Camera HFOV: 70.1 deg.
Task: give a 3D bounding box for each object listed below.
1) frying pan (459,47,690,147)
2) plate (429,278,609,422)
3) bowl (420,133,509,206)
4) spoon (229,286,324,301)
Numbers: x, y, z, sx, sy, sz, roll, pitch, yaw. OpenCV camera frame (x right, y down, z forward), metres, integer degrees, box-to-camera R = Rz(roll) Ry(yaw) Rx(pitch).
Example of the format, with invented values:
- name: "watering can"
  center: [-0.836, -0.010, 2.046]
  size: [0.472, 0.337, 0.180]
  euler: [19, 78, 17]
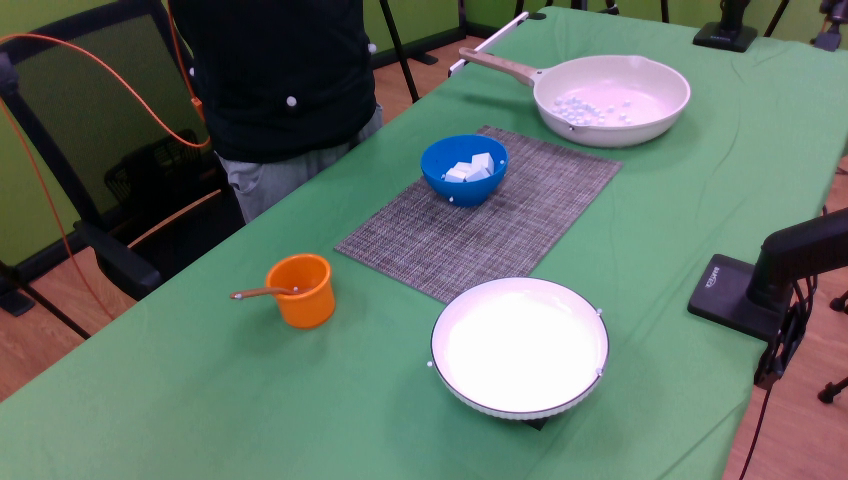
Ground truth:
- name: "frying pan"
  center: [0.280, -0.317, 1.234]
  size: [0.485, 0.103, 0.307]
  euler: [28, 50, 23]
- name: "plate"
  center: [0.111, 0.129, 0.716]
  size: [0.207, 0.039, 0.206]
  euler: [-5, 39, 4]
- name: "bowl"
  center: [0.071, -0.112, 1.038]
  size: [0.151, 0.077, 0.150]
  euler: [-4, 40, 4]
- name: "spoon"
  center: [-0.197, 0.071, 0.817]
  size: [0.041, 0.195, 0.021]
  euler: [13, 88, 23]
